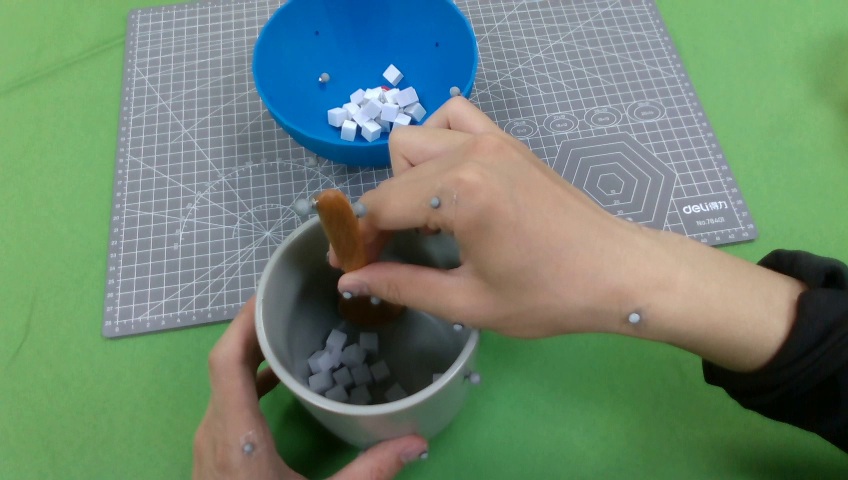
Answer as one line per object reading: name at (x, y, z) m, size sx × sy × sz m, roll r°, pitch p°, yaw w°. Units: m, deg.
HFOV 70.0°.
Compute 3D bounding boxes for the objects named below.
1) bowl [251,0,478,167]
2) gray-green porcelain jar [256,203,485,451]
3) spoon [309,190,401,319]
bowl at (-0.039, -0.106, 0.435) m, size 0.151 × 0.077 × 0.150 m, roll 0°, pitch 63°, yaw 1°
gray-green porcelain jar at (-0.023, 0.056, 0.331) m, size 0.106 × 0.127 × 0.105 m, roll 0°, pitch 63°, yaw 1°
spoon at (-0.033, 0.016, 0.302) m, size 0.041 × 0.194 × 0.021 m, roll -9°, pitch 75°, yaw -4°
